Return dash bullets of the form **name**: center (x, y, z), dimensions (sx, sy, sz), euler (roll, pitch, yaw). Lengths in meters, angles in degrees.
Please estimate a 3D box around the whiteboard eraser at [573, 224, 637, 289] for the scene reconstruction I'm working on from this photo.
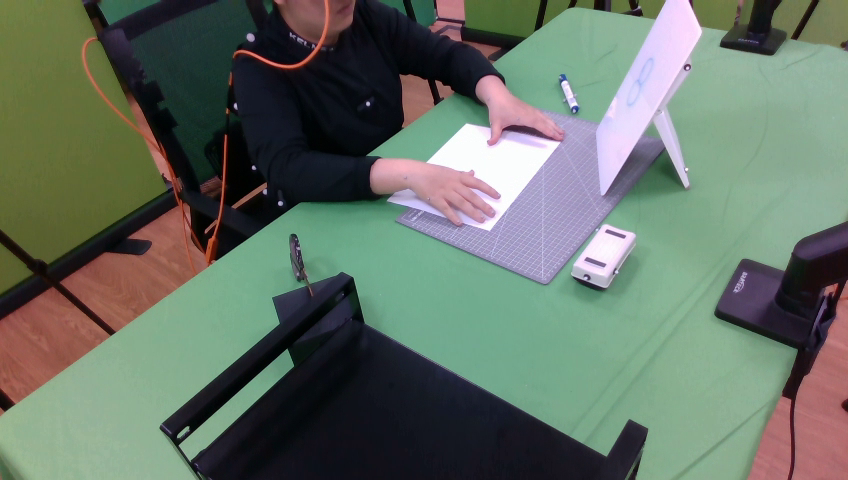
- **whiteboard eraser**: center (0.267, 0.025, 0.890), dimensions (0.055, 0.042, 0.113), euler (19, 47, 31)

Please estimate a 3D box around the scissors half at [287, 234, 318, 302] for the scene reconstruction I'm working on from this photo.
- **scissors half**: center (-0.178, 0.040, 0.884), dimensions (0.013, 0.040, 0.173), euler (-11, 37, -21)

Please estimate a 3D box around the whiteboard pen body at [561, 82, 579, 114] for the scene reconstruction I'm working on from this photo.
- **whiteboard pen body**: center (0.310, -0.311, 1.297), dimensions (0.017, 0.017, 0.140), euler (-6, 41, 2)

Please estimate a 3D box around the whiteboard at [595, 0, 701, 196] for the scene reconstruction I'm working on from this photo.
- **whiteboard**: center (0.421, -0.227, 1.010), dimensions (0.144, 0.305, 0.216), euler (18, 42, -2)

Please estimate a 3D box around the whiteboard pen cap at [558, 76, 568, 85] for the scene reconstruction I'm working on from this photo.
- **whiteboard pen cap**: center (0.309, -0.350, 1.340), dimensions (0.018, 0.018, 0.033), euler (-6, 41, 2)

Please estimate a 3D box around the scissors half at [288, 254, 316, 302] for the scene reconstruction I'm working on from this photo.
- **scissors half**: center (-0.178, 0.058, 0.894), dimensions (0.013, 0.040, 0.174), euler (-15, 20, -18)
